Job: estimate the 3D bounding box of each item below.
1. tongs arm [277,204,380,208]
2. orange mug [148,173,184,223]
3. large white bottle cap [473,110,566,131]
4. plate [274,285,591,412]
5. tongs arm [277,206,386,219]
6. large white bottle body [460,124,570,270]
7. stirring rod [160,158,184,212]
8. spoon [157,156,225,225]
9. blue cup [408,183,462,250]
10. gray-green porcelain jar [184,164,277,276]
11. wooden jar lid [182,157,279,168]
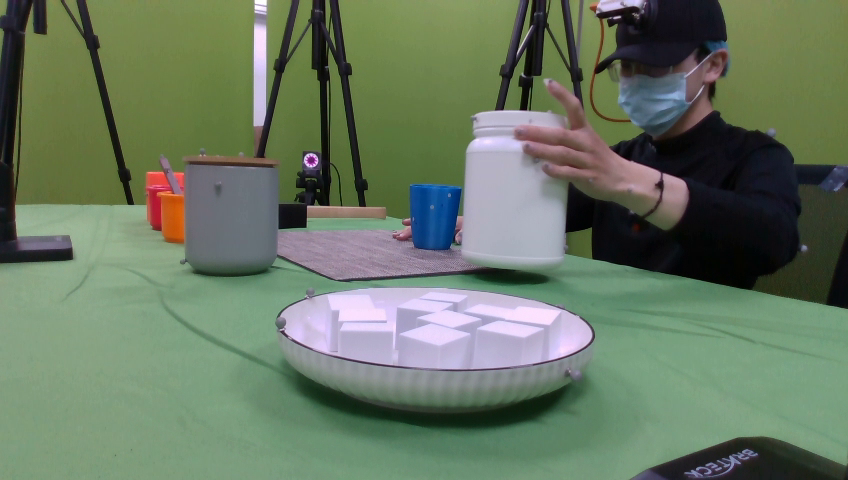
[{"bbox_3d":[-0.288,-0.070,1.435,0.389,0.027,0.028,1,0,-18],"label":"tongs arm"},{"bbox_3d":[-0.490,-0.087,1.222,0.127,0.101,0.083,-9,13,-38],"label":"orange mug"},{"bbox_3d":[0.118,-0.145,0.748,0.115,0.018,0.115,2,5,0],"label":"large white bottle cap"},{"bbox_3d":[0.005,0.069,0.408,0.208,0.039,0.207,2,7,0],"label":"plate"},{"bbox_3d":[-0.252,-0.062,1.360,0.387,0.026,0.050,-1,4,-31],"label":"tongs arm"},{"bbox_3d":[0.114,-0.061,0.756,0.131,0.184,0.130,3,5,0],"label":"large white bottle body"},{"bbox_3d":[-0.391,-0.070,0.972,0.014,0.006,0.175,-1,50,-49],"label":"stirring rod"},{"bbox_3d":[-0.425,-0.094,1.117,0.041,0.022,0.194,5,51,29],"label":"spoon"},{"bbox_3d":[0.015,-0.038,0.969,0.093,0.100,0.092,3,9,0],"label":"blue cup"},{"bbox_3d":[-0.230,-0.025,0.722,0.106,0.126,0.106,3,7,0],"label":"gray-green porcelain jar"},{"bbox_3d":[-0.227,-0.086,0.714,0.108,0.020,0.108,1,6,0],"label":"wooden jar lid"}]
